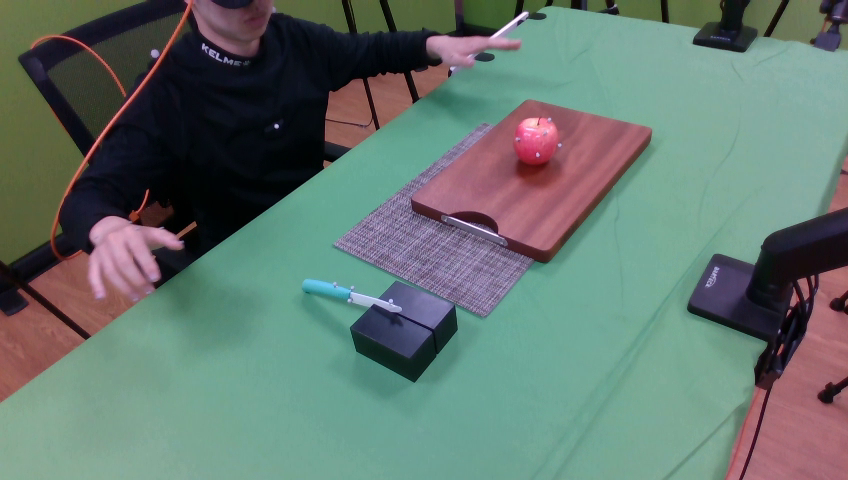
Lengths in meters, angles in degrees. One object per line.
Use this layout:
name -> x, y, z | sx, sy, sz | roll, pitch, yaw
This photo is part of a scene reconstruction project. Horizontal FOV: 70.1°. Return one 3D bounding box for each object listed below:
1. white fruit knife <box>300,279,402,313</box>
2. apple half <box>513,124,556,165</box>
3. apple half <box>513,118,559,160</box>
white fruit knife -> -0.107, 0.078, 0.847 | 0.205, 0.027, 0.016 | 8, 41, 39
apple half -> 0.185, -0.157, 1.041 | 0.081, 0.081, 0.033 | 14, 41, 24
apple half -> 0.203, -0.180, 1.067 | 0.080, 0.075, 0.053 | 12, 40, 27
